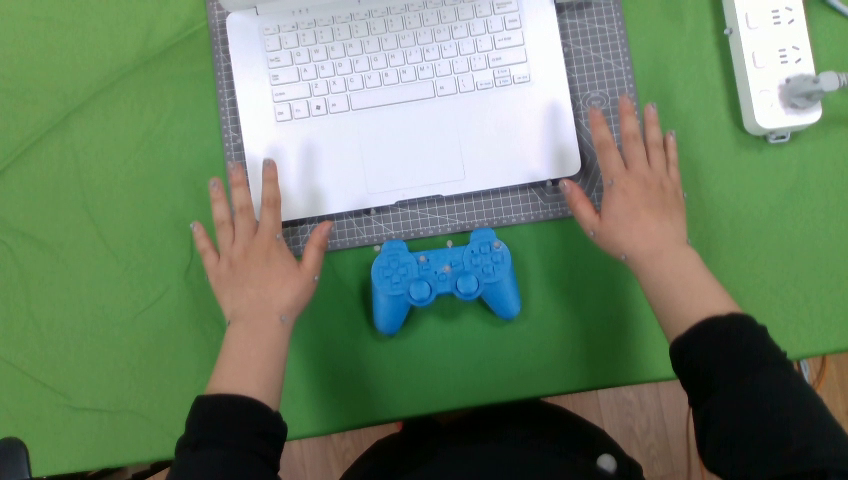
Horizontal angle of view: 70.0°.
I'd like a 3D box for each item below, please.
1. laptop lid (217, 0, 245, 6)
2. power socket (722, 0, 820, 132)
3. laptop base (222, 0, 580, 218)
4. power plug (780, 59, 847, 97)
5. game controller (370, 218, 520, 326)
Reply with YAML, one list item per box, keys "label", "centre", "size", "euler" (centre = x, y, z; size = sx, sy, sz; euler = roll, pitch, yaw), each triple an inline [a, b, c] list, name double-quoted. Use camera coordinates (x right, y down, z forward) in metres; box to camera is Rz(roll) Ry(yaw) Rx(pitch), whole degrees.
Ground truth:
- label: "laptop lid"
  centre: [-0.054, -0.308, 0.542]
  size: [0.357, 0.243, 0.013]
  euler: [-10, 77, 2]
- label: "power socket"
  centre: [0.359, -0.229, 0.637]
  size: [0.072, 0.032, 0.226]
  euler: [-7, 86, 2]
- label: "laptop base"
  centre: [-0.027, -0.166, 0.651]
  size: [0.354, 0.023, 0.235]
  euler: [-10, 89, 1]
- label: "power plug"
  centre: [0.398, -0.161, 0.613]
  size: [0.072, 0.053, 0.035]
  euler: [4, 85, -3]
- label: "game controller"
  centre: [0.019, 0.032, 0.624]
  size: [0.155, 0.052, 0.096]
  euler: [-8, 81, 1]
